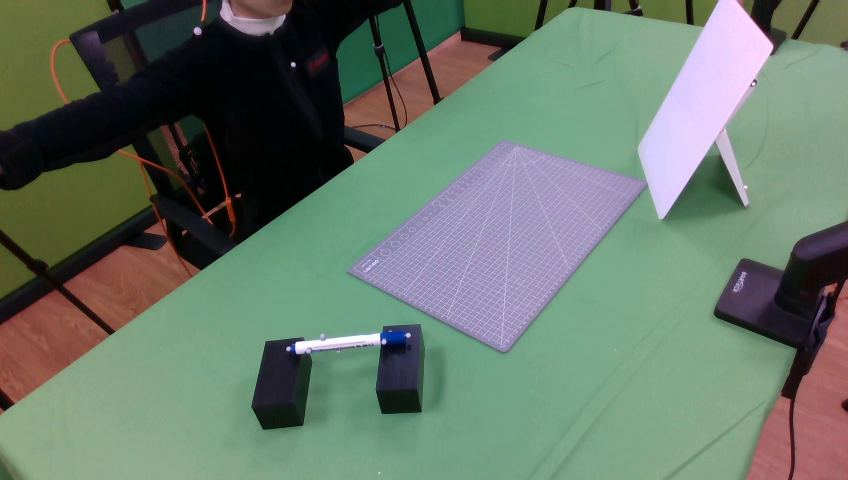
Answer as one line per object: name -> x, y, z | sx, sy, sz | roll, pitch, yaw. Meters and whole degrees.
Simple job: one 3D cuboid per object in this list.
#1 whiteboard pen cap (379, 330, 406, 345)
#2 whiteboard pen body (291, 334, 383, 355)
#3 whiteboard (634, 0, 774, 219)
whiteboard pen cap -> -0.040, 0.123, 0.760 | 0.033, 0.018, 0.018 | -6, 40, 2
whiteboard pen body -> -0.098, 0.131, 0.762 | 0.141, 0.017, 0.017 | -5, 41, 1
whiteboard -> 0.485, -0.192, 0.957 | 0.144, 0.305, 0.216 | 14, 41, -4
